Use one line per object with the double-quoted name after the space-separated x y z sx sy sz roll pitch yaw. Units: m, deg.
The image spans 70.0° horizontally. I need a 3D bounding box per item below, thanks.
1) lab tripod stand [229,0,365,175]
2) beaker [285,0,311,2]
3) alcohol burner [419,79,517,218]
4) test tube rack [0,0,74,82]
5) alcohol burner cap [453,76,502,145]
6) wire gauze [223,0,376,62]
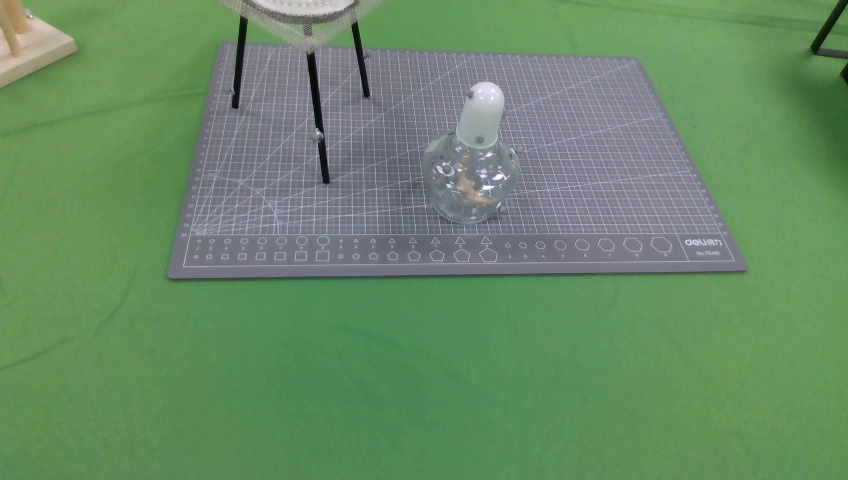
-0.098 -0.149 0.496 0.148 0.132 0.147 5 51 -6 "lab tripod stand"
-0.092 -0.223 0.408 0.084 0.101 0.073 -5 52 -11 "beaker"
0.036 -0.074 0.465 0.078 0.120 0.077 5 49 -5 "alcohol burner"
-0.427 -0.157 0.493 0.066 0.086 0.241 30 53 17 "test tube rack"
0.040 -0.095 0.437 0.034 0.048 0.033 4 55 -5 "alcohol burner cap"
-0.094 -0.190 0.445 0.124 0.011 0.121 33 57 14 "wire gauze"
